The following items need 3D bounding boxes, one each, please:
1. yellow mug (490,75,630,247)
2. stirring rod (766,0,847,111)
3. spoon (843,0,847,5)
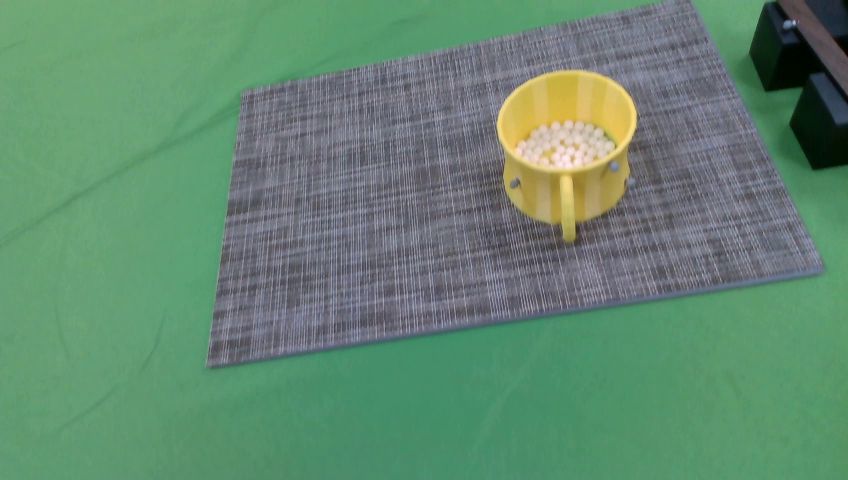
[{"bbox_3d":[0.103,-0.056,0.459,0.100,0.064,0.129,-3,58,11],"label":"yellow mug"},{"bbox_3d":[0.292,-0.133,0.445,0.014,0.006,0.174,-34,50,32],"label":"stirring rod"},{"bbox_3d":[0.332,-0.149,0.441,0.041,0.022,0.192,-6,55,9],"label":"spoon"}]
